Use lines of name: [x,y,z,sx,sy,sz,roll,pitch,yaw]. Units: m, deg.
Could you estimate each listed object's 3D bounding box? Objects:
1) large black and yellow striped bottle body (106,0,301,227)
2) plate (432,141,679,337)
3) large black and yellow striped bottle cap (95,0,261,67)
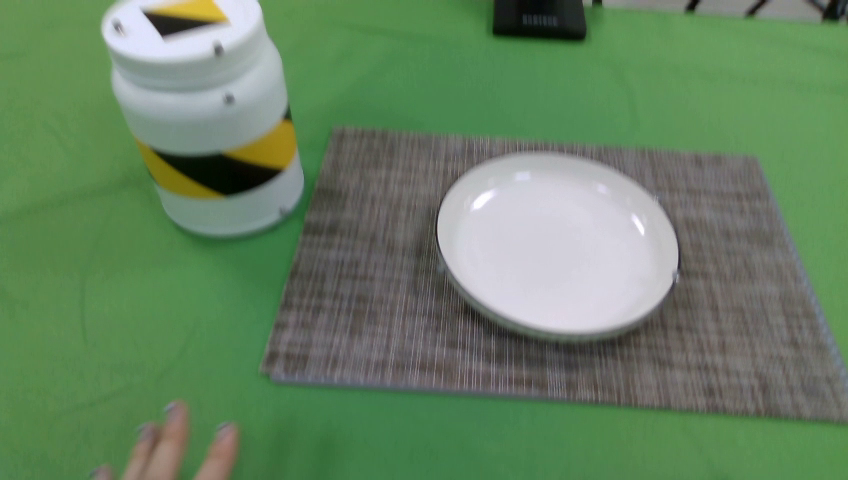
large black and yellow striped bottle body: [-0.181,-0.114,0.514,0.131,0.185,0.129,1,51,-1]
plate: [0.110,-0.003,0.525,0.208,0.039,0.205,1,51,-1]
large black and yellow striped bottle cap: [-0.180,-0.168,0.448,0.115,0.019,0.114,2,50,-2]
